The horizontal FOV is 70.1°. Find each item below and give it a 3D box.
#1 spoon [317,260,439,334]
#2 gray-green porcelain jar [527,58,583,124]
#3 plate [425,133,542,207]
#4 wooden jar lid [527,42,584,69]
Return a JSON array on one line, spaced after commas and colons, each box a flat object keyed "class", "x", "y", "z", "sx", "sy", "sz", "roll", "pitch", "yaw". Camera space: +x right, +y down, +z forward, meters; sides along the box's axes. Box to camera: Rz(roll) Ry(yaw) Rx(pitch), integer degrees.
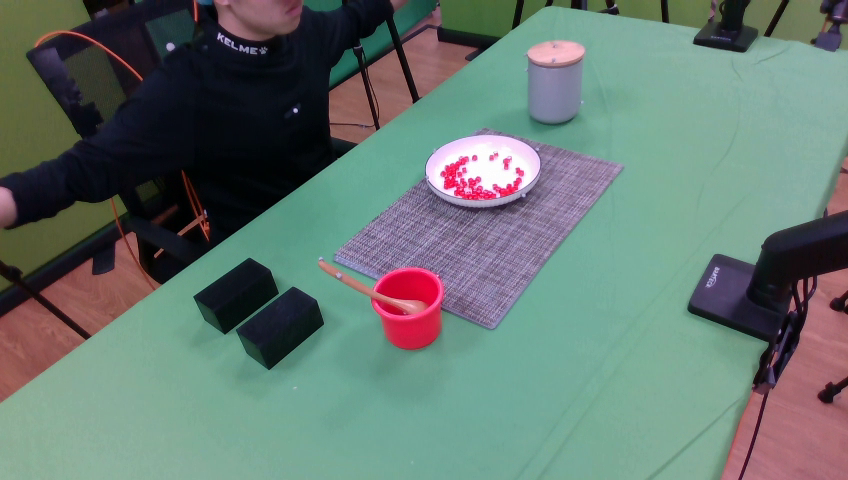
[{"class": "spoon", "x": -0.056, "y": 0.074, "z": 0.788, "sx": 0.195, "sy": 0.021, "sz": 0.041, "roll": 27, "pitch": 42, "yaw": -21}, {"class": "gray-green porcelain jar", "x": 0.260, "y": -0.305, "z": 1.207, "sx": 0.106, "sy": 0.127, "sz": 0.105, "roll": -4, "pitch": 41, "yaw": 4}, {"class": "plate", "x": 0.106, "y": -0.122, "z": 1.079, "sx": 0.207, "sy": 0.039, "sz": 0.206, "roll": -4, "pitch": 41, "yaw": 4}, {"class": "wooden jar lid", "x": 0.253, "y": -0.352, "z": 1.164, "sx": 0.108, "sy": 0.021, "sz": 0.108, "roll": -5, "pitch": 39, "yaw": 5}]
